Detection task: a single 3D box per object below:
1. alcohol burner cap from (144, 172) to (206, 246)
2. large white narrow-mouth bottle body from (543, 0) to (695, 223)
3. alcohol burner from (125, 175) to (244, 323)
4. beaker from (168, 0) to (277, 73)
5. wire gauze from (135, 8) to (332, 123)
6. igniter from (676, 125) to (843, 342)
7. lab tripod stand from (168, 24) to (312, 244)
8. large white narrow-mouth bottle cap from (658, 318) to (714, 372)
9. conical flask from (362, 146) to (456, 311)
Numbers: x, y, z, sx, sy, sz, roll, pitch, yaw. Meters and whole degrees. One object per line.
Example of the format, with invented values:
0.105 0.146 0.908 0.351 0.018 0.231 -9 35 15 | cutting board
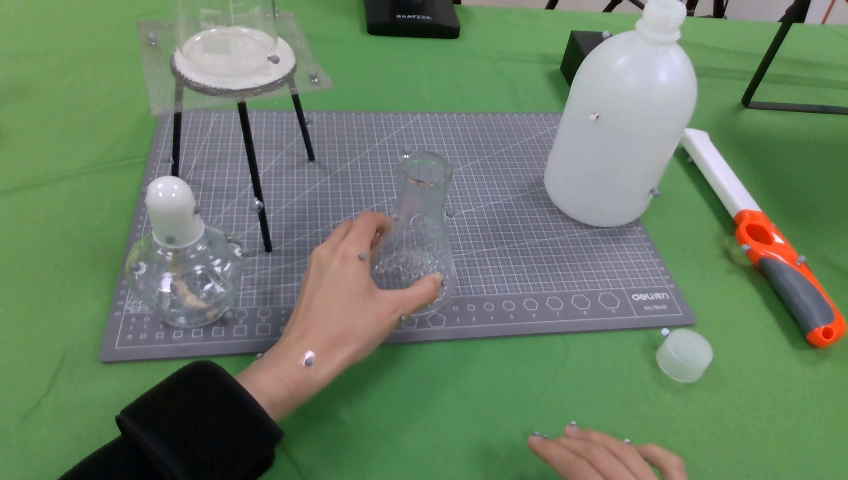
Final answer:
-0.160 -0.022 0.387 0.034 0.048 0.033 4 52 -5 | alcohol burner cap
0.171 -0.113 0.519 0.102 0.196 0.101 4 46 -4 | large white narrow-mouth bottle body
-0.165 0.002 0.414 0.078 0.120 0.077 6 45 -5 | alcohol burner
-0.141 -0.173 0.411 0.084 0.101 0.073 -7 49 -15 | beaker
-0.142 -0.137 0.445 0.122 0.011 0.123 -14 54 -19 | wire gauze
0.307 -0.019 0.572 0.057 0.025 0.273 7 45 -17 | igniter
-0.145 -0.090 0.491 0.148 0.132 0.147 6 47 -6 | lab tripod stand
0.201 0.081 0.465 0.038 0.024 0.037 4 46 -4 | large white narrow-mouth bottle cap
-0.006 -0.010 0.444 0.075 0.123 0.074 5 46 -5 | conical flask
